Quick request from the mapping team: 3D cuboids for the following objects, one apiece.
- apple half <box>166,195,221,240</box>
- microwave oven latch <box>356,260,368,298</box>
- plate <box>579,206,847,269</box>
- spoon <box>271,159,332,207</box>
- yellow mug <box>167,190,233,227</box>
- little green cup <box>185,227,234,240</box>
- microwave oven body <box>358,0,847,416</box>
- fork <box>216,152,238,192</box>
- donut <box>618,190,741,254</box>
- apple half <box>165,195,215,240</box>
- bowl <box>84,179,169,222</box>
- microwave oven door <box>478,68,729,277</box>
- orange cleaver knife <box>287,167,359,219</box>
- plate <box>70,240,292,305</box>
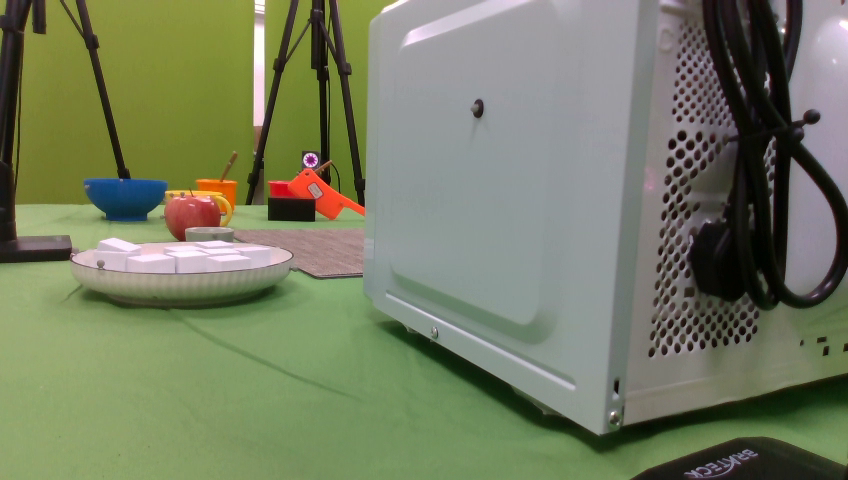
[{"bbox_3d":[-0.351,-0.031,0.935,0.081,0.074,0.053,1,11,-40],"label":"apple half"},{"bbox_3d":[-0.020,0.033,0.529,0.079,0.029,0.030,0,7,-25],"label":"microwave oven latch"},{"bbox_3d":[0.237,-0.005,0.512,0.209,0.038,0.209,2,6,0],"label":"plate"},{"bbox_3d":[-0.308,-0.142,1.514,0.193,0.021,0.041,-41,5,9],"label":"spoon"},{"bbox_3d":[-0.415,-0.057,1.132,0.130,0.064,0.100,6,8,16],"label":"yellow mug"},{"bbox_3d":[-0.285,0.005,0.805,0.061,0.038,0.061,2,8,0],"label":"little green cup"},{"bbox_3d":[0.211,-0.047,0.475,0.444,0.260,0.324,-1,7,-28],"label":"microwave oven body"},{"bbox_3d":[-0.455,-0.132,1.367,0.028,0.018,0.207,-2,-35,-37],"label":"fork"},{"bbox_3d":[0.217,-0.015,0.521,0.099,0.048,0.099,9,7,-1],"label":"donut"},{"bbox_3d":[-0.377,-0.038,0.964,0.082,0.081,0.032,-4,14,-39],"label":"apple half"},{"bbox_3d":[-0.584,-0.079,1.194,0.151,0.077,0.151,3,8,0],"label":"bowl"},{"bbox_3d":[0.219,-0.097,0.826,0.039,0.243,0.354,-5,10,-42],"label":"microwave oven door"},{"bbox_3d":[-0.209,-0.089,1.383,0.212,0.077,0.012,31,4,-15],"label":"orange cleaver knife"},{"bbox_3d":[-0.242,0.031,0.618,0.208,0.039,0.207,2,8,0],"label":"plate"}]
